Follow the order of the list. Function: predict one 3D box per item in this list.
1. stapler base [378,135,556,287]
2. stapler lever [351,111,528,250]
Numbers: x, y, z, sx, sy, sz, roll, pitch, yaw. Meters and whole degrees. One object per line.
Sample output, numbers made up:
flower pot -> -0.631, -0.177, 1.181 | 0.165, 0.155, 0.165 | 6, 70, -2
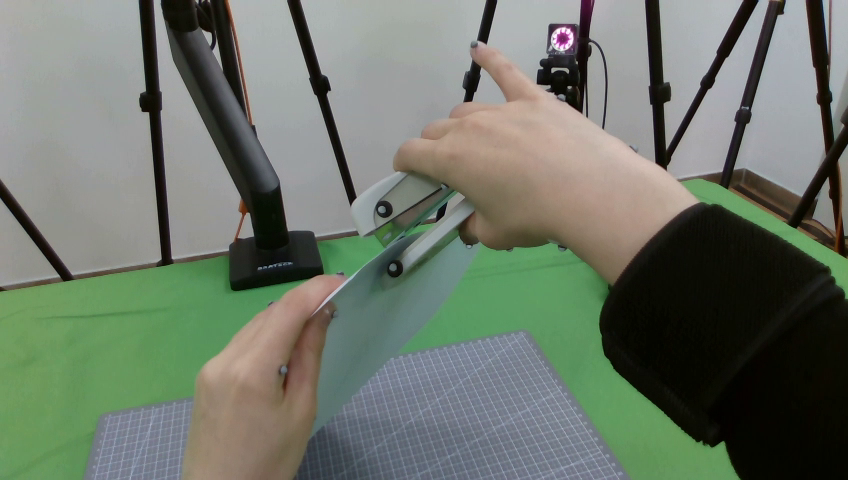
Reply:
stapler base -> 0.019, -0.020, 0.359 | 0.130, 0.024, 0.041 | -39, -6, 16
stapler lever -> 0.006, -0.040, 0.362 | 0.040, 0.118, 0.027 | 51, 16, 5
